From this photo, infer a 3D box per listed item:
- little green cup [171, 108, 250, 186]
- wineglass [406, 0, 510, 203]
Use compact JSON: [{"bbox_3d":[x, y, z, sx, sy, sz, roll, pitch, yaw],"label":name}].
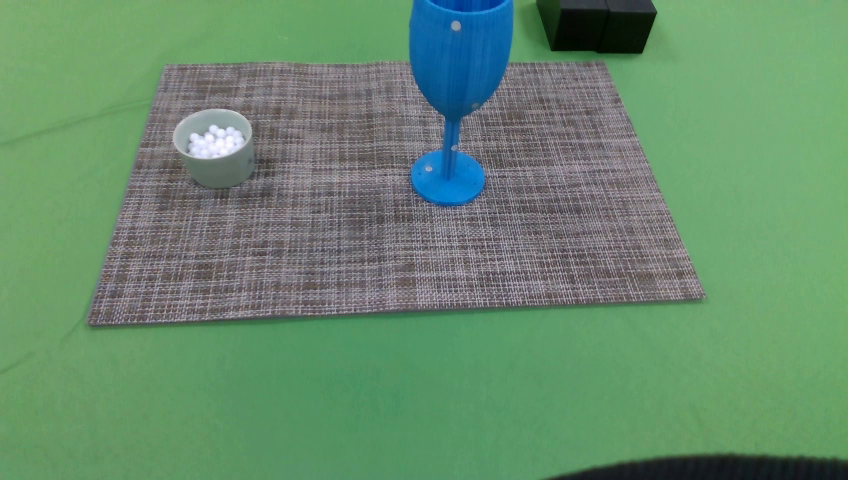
[{"bbox_3d":[-0.174,-0.076,0.503,0.061,0.039,0.061,2,51,-2],"label":"little green cup"},{"bbox_3d":[0.021,-0.109,0.456,0.074,0.173,0.073,2,51,-2],"label":"wineglass"}]
